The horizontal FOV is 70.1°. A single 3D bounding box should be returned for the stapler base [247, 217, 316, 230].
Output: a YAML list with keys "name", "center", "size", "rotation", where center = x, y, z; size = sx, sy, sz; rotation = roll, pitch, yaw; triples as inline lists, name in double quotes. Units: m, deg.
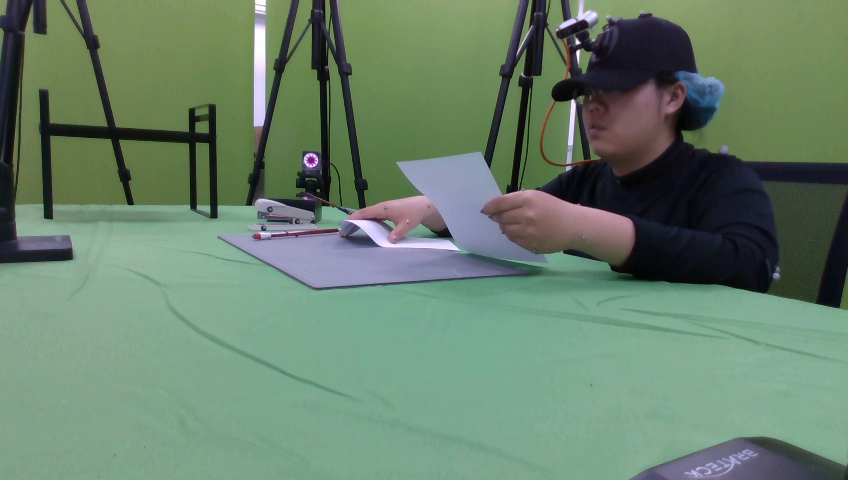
- name: "stapler base"
  center: [-0.276, -0.033, 1.172]
  size: [0.131, 0.024, 0.041]
  rotation: [0, 10, -37]

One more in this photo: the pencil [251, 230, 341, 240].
- name: "pencil"
  center: [-0.215, -0.011, 1.049]
  size: [0.012, 0.012, 0.195]
  rotation: [9, 9, 39]

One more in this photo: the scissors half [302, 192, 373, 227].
- name: "scissors half"
  center: [-0.191, -0.069, 1.313]
  size: [0.175, 0.013, 0.040]
  rotation: [26, 14, 7]

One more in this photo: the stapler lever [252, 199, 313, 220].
- name: "stapler lever"
  center: [-0.273, -0.058, 1.170]
  size: [0.119, 0.040, 0.026]
  rotation: [0, 10, -37]

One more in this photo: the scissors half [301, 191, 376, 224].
- name: "scissors half"
  center: [-0.189, -0.073, 1.333]
  size: [0.175, 0.013, 0.040]
  rotation: [23, 9, -10]
